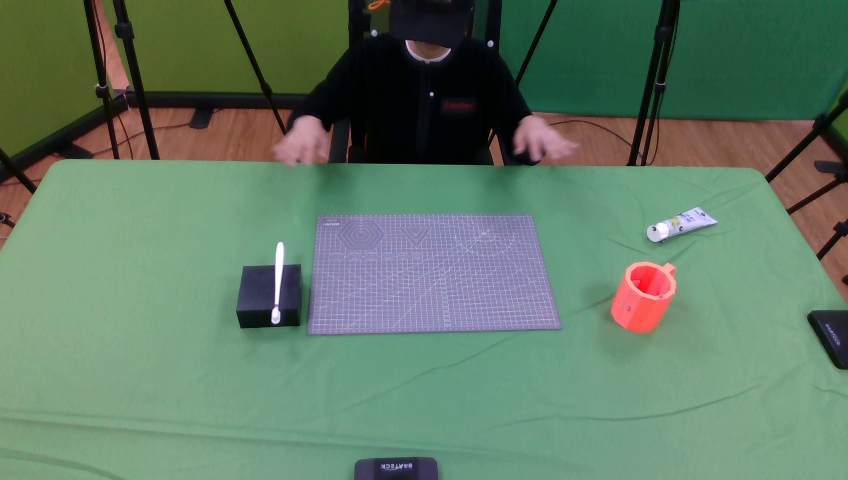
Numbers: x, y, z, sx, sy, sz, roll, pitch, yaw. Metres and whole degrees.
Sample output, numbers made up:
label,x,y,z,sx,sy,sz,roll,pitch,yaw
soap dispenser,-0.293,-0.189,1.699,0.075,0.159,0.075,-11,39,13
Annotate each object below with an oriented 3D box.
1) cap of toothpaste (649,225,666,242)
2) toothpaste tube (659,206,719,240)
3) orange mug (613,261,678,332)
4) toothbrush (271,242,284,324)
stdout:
label,x,y,z,sx,sy,sz,roll,pitch,yaw
cap of toothpaste,0.473,-0.015,1.226,0.011,0.037,0.037,-20,51,-26
toothpaste tube,0.542,-0.035,1.259,0.165,0.034,0.054,-19,55,-26
orange mug,0.403,0.091,1.078,0.126,0.101,0.083,-33,56,-25
toothbrush,-0.253,0.068,1.048,0.014,0.017,0.180,-5,46,-4
